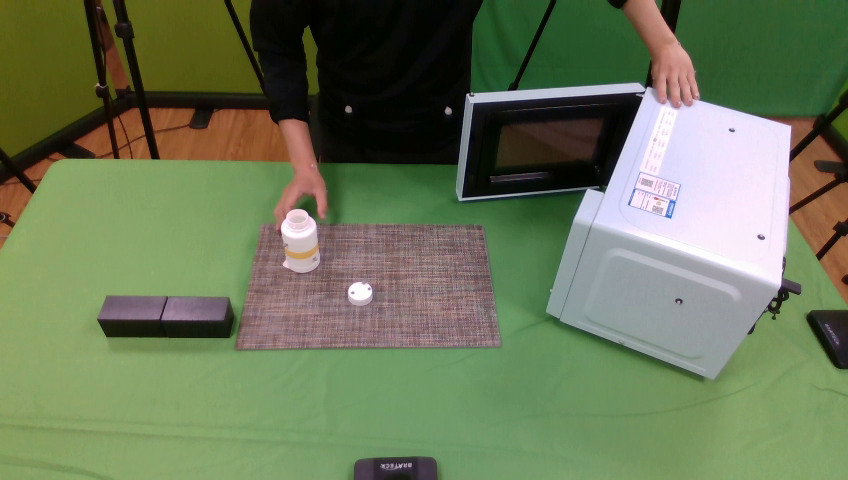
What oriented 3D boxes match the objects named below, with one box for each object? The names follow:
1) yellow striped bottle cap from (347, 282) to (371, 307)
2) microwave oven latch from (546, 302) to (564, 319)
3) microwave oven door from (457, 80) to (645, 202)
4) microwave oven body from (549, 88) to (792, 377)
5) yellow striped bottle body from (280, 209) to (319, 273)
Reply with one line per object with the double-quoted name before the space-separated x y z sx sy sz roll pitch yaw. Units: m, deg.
"yellow striped bottle cap" -0.117 0.098 1.093 0.044 0.019 0.044 3 46 -3
"microwave oven latch" 0.242 0.102 1.081 0.030 0.029 0.079 21 48 17
"microwave oven door" 0.250 -0.198 1.228 0.356 0.245 0.039 -7 46 -10
"microwave oven body" 0.455 -0.028 1.088 0.325 0.261 0.440 20 47 16
"yellow striped bottle body" -0.227 -0.001 1.106 0.063 0.121 0.062 2 46 -2
